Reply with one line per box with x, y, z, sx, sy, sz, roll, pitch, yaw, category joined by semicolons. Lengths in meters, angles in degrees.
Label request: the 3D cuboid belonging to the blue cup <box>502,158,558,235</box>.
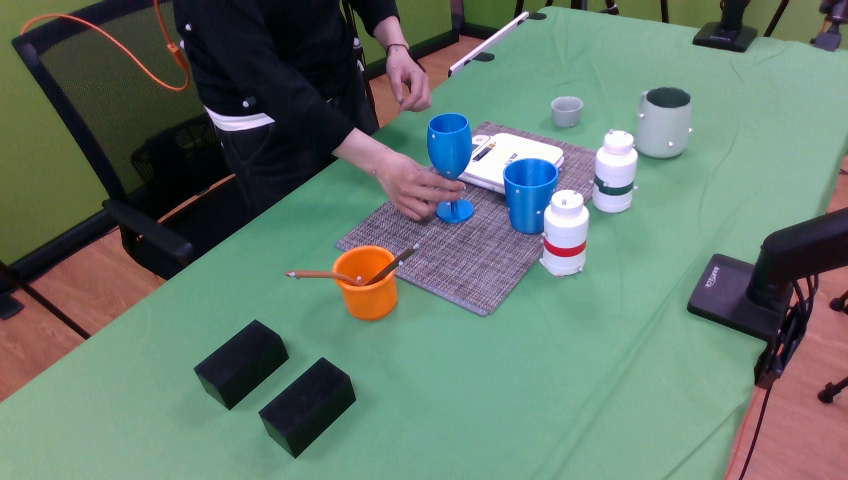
0.168;-0.064;0.954;0.092;0.100;0.092;-5;38;5;blue cup

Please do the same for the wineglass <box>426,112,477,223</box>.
0.044;-0.114;0.972;0.074;0.173;0.073;-4;41;4;wineglass

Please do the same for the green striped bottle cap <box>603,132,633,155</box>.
0.301;-0.149;0.938;0.044;0.020;0.044;-3;39;3;green striped bottle cap

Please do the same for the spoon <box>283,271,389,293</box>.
-0.117;0.054;0.825;0.041;0.195;0.021;17;89;38;spoon

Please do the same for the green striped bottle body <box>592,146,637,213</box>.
0.307;-0.108;0.976;0.063;0.120;0.063;-4;41;4;green striped bottle body

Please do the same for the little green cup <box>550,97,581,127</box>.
0.284;-0.255;1.213;0.061;0.039;0.061;-5;41;5;little green cup

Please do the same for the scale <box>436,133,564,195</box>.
0.137;-0.141;1.101;0.199;0.032;0.149;22;48;30;scale

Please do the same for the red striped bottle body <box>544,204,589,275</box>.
0.206;-0.011;0.877;0.063;0.120;0.062;-4;41;4;red striped bottle body

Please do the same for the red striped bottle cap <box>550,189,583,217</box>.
0.199;-0.052;0.843;0.044;0.018;0.044;-2;42;2;red striped bottle cap

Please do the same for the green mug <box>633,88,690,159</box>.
0.423;-0.217;1.099;0.093;0.105;0.124;-16;41;-10;green mug

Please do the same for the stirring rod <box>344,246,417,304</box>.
-0.062;0.050;0.819;0.014;0.175;0.006;-2;63;-40;stirring rod
